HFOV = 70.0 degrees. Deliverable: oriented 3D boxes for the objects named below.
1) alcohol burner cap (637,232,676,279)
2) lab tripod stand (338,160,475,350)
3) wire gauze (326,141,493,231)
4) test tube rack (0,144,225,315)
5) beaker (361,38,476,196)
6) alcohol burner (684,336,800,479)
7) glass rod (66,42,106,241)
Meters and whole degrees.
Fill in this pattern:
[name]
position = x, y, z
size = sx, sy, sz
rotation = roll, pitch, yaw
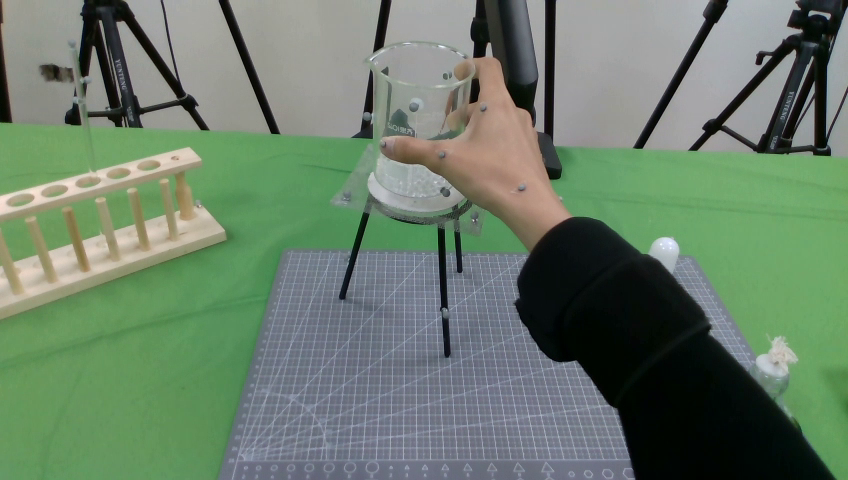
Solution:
[alcohol burner cap]
position = 0.244, 0.014, 0.633
size = 0.034, 0.048, 0.033
rotation = 2, 36, -1
[lab tripod stand]
position = -0.009, 0.007, 0.544
size = 0.148, 0.132, 0.147
rotation = 1, 38, -1
[wire gauze]
position = -0.008, -0.053, 0.512
size = 0.125, 0.011, 0.120
rotation = 8, 37, 9
[test tube rack]
position = -0.329, -0.013, 0.590
size = 0.243, 0.086, 0.066
rotation = -23, 44, -32
[beaker]
position = -0.008, -0.091, 0.460
size = 0.084, 0.101, 0.073
rotation = 12, 41, 8
[alcohol burner]
position = 0.231, 0.115, 0.432
size = 0.078, 0.120, 0.077
rotation = 2, 34, -1
[glass rod]
position = -0.321, -0.086, 0.580
size = 0.008, 0.201, 0.008
rotation = 5, 29, -3
